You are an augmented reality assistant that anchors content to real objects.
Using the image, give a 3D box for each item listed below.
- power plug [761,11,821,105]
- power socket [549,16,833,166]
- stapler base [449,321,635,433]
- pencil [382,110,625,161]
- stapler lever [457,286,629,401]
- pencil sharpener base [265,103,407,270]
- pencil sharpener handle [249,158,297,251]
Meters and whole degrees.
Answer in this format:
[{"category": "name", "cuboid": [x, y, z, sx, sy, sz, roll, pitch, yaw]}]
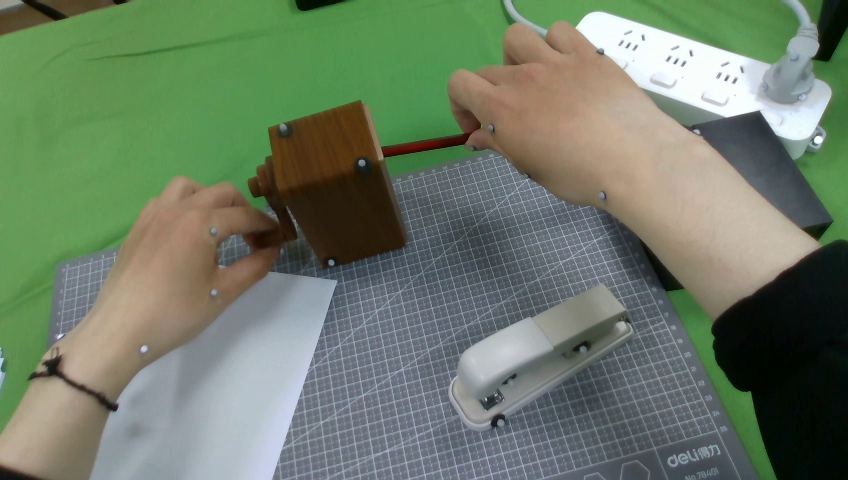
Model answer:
[{"category": "power plug", "cuboid": [0.289, -0.131, 0.465, 0.072, 0.053, 0.035, -43, 62, -16]}, {"category": "power socket", "cuboid": [0.216, -0.129, 0.502, 0.225, 0.033, 0.072, 28, 65, 24]}, {"category": "stapler base", "cuboid": [0.077, 0.077, 0.397, 0.130, 0.024, 0.041, -28, 59, -11]}, {"category": "pencil", "cuboid": [0.043, -0.070, 0.417, 0.194, 0.012, 0.012, -10, 57, -3]}, {"category": "stapler lever", "cuboid": [0.074, 0.062, 0.377, 0.118, 0.040, 0.026, -28, 59, -11]}, {"category": "pencil sharpener base", "cuboid": [-0.061, -0.034, 0.437, 0.077, 0.108, 0.060, -17, 57, -1]}, {"category": "pencil sharpener handle", "cuboid": [-0.110, -0.022, 0.421, 0.030, 0.068, 0.035, -17, 37, -1]}]
